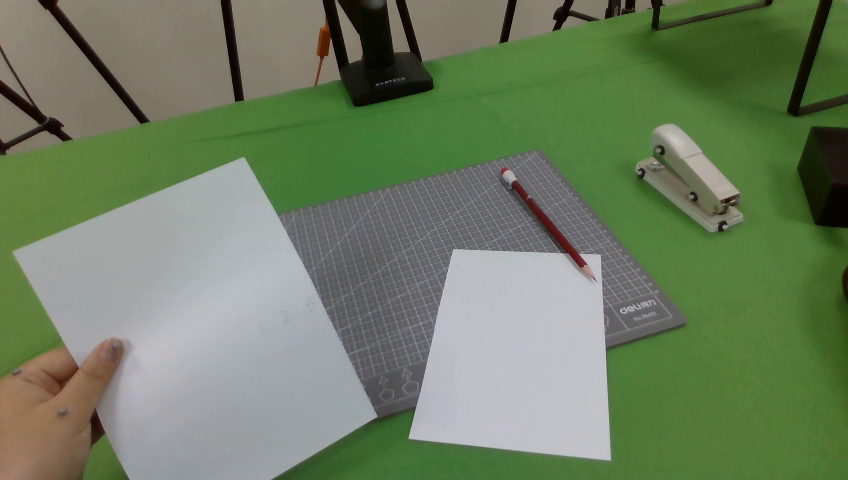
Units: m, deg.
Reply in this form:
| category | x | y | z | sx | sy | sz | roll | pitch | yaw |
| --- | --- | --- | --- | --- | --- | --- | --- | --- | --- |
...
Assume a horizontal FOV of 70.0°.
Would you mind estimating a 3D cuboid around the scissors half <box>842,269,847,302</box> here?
| category | x | y | z | sx | sy | sz | roll | pitch | yaw |
| --- | --- | --- | --- | --- | --- | --- | --- | --- | --- |
| scissors half | 0.385 | -0.006 | 0.516 | 0.040 | 0.013 | 0.174 | 10 | 62 | 29 |

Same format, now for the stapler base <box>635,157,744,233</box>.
| category | x | y | z | sx | sy | sz | roll | pitch | yaw |
| --- | --- | --- | --- | --- | --- | --- | --- | --- | --- |
| stapler base | 0.271 | -0.056 | 0.626 | 0.041 | 0.025 | 0.129 | -20 | 44 | -11 |

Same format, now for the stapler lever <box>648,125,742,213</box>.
| category | x | y | z | sx | sy | sz | roll | pitch | yaw |
| --- | --- | --- | --- | --- | --- | --- | --- | --- | --- |
| stapler lever | 0.269 | -0.075 | 0.608 | 0.027 | 0.040 | 0.116 | -20 | 44 | -11 |

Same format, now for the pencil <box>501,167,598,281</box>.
| category | x | y | z | sx | sy | sz | roll | pitch | yaw |
| --- | --- | --- | --- | --- | --- | --- | --- | --- | --- |
| pencil | 0.123 | -0.021 | 0.613 | 0.012 | 0.012 | 0.191 | -18 | 43 | -12 |
